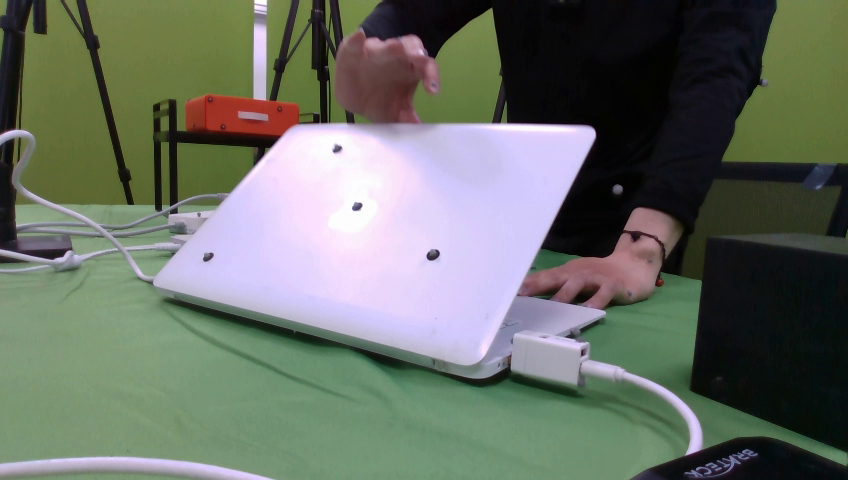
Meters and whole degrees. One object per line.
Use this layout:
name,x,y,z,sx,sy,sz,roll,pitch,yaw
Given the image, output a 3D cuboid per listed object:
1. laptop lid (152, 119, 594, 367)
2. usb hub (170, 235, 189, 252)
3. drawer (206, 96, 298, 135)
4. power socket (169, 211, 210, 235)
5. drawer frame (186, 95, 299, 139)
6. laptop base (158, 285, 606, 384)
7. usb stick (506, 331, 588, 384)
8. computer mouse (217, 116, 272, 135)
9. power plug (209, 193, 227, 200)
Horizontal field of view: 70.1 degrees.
laptop lid,-0.058,-0.027,0.515,0.355,0.013,0.242,9,53,35
usb hub,-0.290,0.005,0.862,0.049,0.025,0.126,10,11,42
drawer,-0.413,-0.276,1.376,0.195,0.073,0.210,-3,9,-31
power socket,-0.381,-0.038,1.128,0.072,0.032,0.227,4,8,16
drawer frame,-0.417,-0.277,1.378,0.203,0.082,0.212,-3,8,-32
laptop base,-0.042,0.059,0.554,0.352,0.023,0.237,8,7,35
usb stick,0.072,0.073,0.383,0.059,0.027,0.021,0,0,33
computer mouse,-0.401,-0.257,1.353,0.118,0.041,0.062,-6,15,-34
power plug,-0.388,-0.067,1.205,0.072,0.052,0.035,3,8,26
